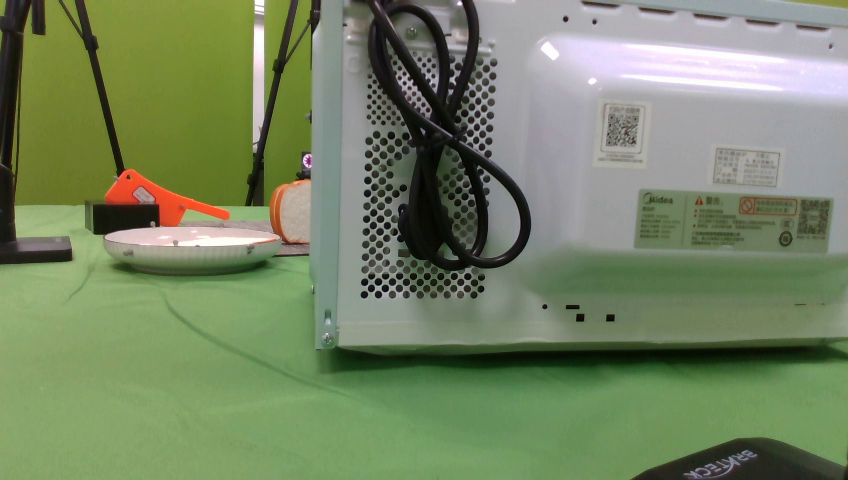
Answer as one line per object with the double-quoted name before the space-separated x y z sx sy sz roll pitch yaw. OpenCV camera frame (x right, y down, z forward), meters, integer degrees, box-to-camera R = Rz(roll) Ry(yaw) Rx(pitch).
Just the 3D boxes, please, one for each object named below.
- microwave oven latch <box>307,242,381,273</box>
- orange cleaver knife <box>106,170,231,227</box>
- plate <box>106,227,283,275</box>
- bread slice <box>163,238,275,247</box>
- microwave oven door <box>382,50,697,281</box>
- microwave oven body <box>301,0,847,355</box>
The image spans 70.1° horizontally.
"microwave oven latch" -0.086 0.019 0.656 0.079 0.029 0.030 2 7 -10
"orange cleaver knife" -0.458 -0.060 1.097 0.212 0.077 0.012 23 -4 -38
"plate" -0.288 0.013 0.772 0.208 0.039 0.207 2 7 0
"bread slice" -0.268 0.014 0.759 0.106 0.018 0.135 2 8 21
"microwave oven door" 0.135 -0.077 0.685 0.357 0.243 0.039 1 8 -12
"microwave oven body" 0.120 -0.053 0.535 0.443 0.260 0.325 2 7 -11
